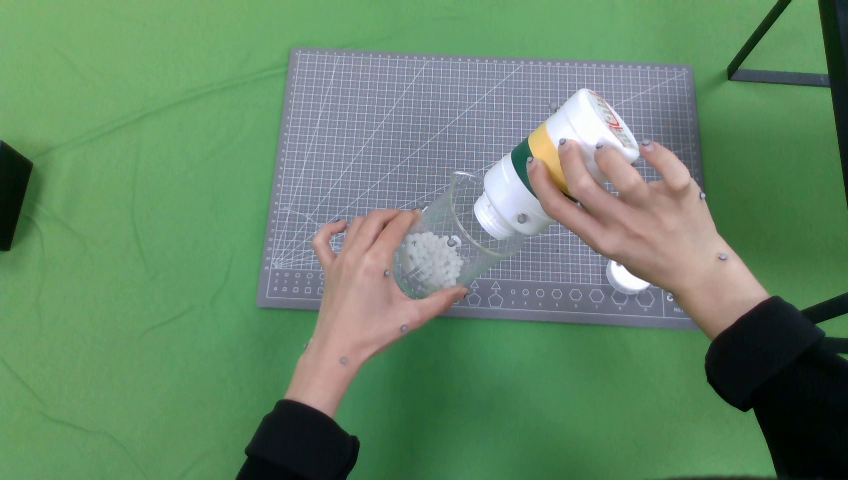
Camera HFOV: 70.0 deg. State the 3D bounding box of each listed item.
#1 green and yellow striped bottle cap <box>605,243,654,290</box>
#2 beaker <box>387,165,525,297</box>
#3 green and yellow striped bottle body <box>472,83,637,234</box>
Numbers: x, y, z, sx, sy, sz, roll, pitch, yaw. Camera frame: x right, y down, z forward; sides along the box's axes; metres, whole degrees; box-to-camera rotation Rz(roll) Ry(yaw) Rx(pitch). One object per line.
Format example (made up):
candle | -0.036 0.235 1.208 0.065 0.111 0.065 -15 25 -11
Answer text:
green and yellow striped bottle cap | 0.203 0.026 0.599 0.045 0.020 0.045 0 70 0
beaker | 0.020 -0.004 0.500 0.074 0.100 0.084 -28 82 -46
green and yellow striped bottle body | 0.090 -0.053 0.447 0.120 0.063 0.063 -41 71 32
